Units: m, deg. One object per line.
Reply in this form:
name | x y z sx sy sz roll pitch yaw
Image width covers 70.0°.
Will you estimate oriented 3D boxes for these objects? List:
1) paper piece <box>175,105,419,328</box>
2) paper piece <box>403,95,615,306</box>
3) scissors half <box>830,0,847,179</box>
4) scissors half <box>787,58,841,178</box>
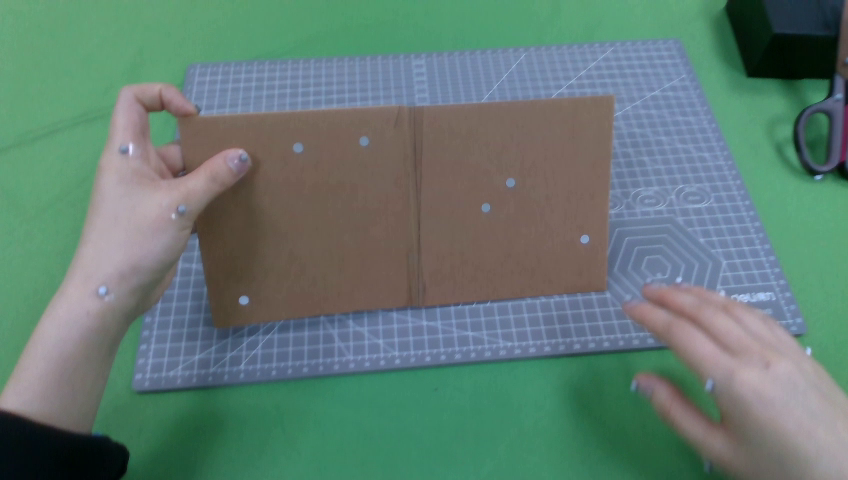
paper piece | -0.074 -0.013 0.383 0.138 0.136 0.008 -5 15 -9
paper piece | 0.057 -0.024 0.398 0.136 0.136 0.004 -4 17 -5
scissors half | 0.350 -0.132 0.494 0.040 0.013 0.174 -1 78 10
scissors half | 0.331 -0.134 0.497 0.040 0.013 0.174 17 81 8
